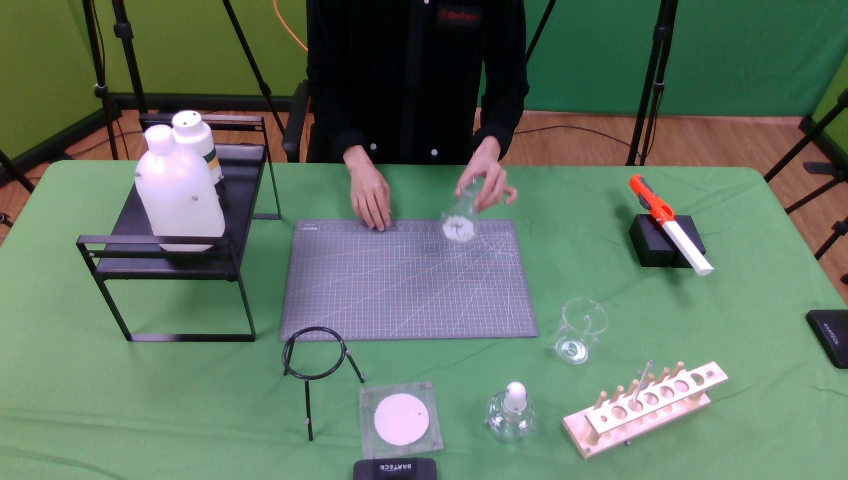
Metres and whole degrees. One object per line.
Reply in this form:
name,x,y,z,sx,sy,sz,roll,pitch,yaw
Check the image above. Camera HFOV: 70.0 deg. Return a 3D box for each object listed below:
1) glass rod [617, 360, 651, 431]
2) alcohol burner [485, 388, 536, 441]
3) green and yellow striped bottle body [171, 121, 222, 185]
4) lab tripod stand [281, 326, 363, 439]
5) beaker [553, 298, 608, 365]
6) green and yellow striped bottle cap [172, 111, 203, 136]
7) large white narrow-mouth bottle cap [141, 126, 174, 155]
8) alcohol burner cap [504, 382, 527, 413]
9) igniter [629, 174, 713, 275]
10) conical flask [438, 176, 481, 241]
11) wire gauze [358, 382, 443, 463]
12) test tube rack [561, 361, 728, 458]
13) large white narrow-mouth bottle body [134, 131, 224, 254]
glass rod,0.297,0.227,0.865,0.008,0.201,0.008,-1,48,2
alcohol burner,0.131,0.249,0.904,0.078,0.120,0.077,1,48,-1
green and yellow striped bottle body,-0.375,-0.149,0.995,0.063,0.120,0.063,2,46,-2
lab tripod stand,-0.166,0.203,0.913,0.148,0.132,0.147,1,47,-1
beaker,0.260,0.154,1.015,0.073,0.101,0.084,37,54,27
green and yellow striped bottle cap,-0.374,-0.185,0.958,0.045,0.020,0.045,4,46,-4
large white narrow-mouth bottle cap,-0.356,-0.133,0.811,0.038,0.024,0.037,2,48,-2
alcohol burner cap,0.132,0.225,0.877,0.034,0.048,0.033,-4,47,5
igniter,0.481,-0.040,1.202,0.057,0.025,0.274,-2,46,-21
conical flask,0.070,-0.060,1.091,0.075,0.122,0.075,6,51,-7
wire gauze,-0.039,0.277,0.937,0.121,0.011,0.124,-4,47,-7
test tube rack,0.341,0.248,0.940,0.243,0.085,0.066,-15,49,-18
large white narrow-mouth bottle body,-0.358,-0.075,0.875,0.102,0.195,0.101,1,48,-1
